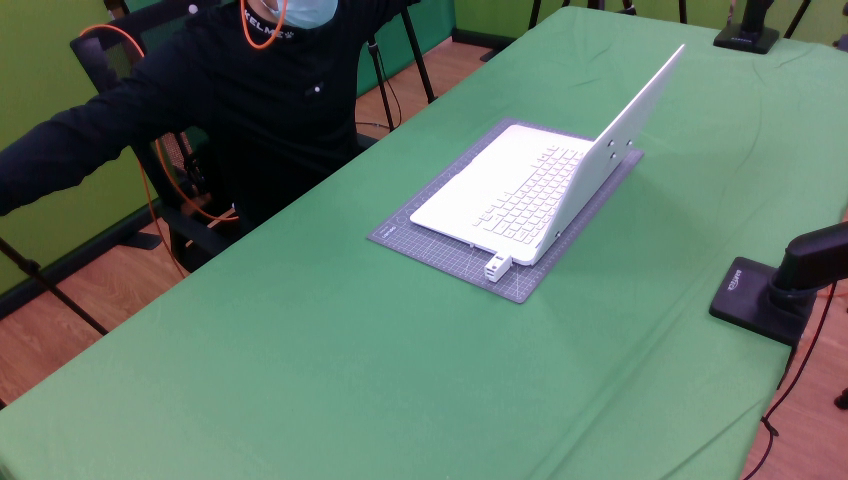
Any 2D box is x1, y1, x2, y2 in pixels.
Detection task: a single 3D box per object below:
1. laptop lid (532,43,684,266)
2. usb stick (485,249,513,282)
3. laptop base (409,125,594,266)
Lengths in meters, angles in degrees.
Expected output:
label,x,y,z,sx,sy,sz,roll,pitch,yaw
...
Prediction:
label,x,y,z,sx,sy,sz,roll,pitch,yaw
laptop lid,0.280,-0.130,0.907,0.013,0.242,0.357,34,52,17
usb stick,0.115,0.034,0.896,0.021,0.027,0.059,23,47,32
laptop base,0.168,-0.094,1.056,0.233,0.023,0.355,20,47,32
